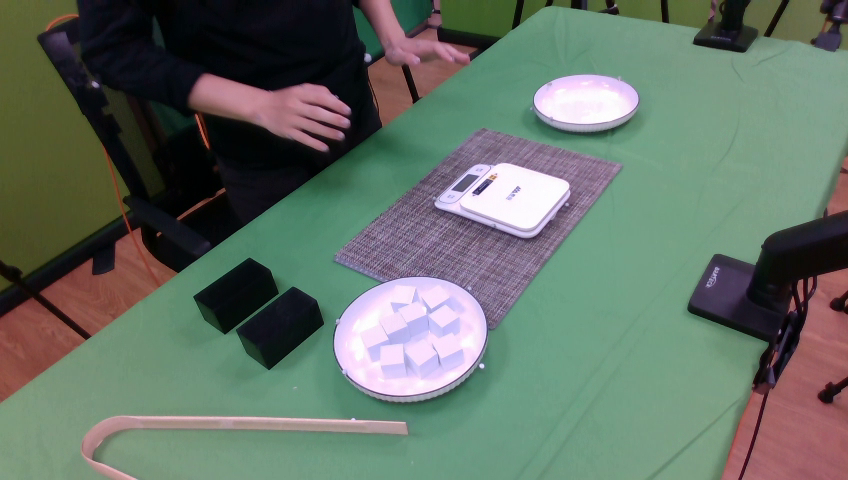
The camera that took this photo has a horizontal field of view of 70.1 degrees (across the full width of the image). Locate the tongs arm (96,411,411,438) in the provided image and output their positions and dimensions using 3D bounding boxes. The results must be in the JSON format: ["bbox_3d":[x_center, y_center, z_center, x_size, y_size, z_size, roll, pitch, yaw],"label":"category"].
[{"bbox_3d":[-0.208,0.226,0.731,0.387,0.028,0.028,-1,44,7],"label":"tongs arm"}]

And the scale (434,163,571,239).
[{"bbox_3d":[0.132,-0.075,1.025,0.199,0.032,0.149,22,48,30],"label":"scale"}]

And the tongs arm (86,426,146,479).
[{"bbox_3d":[-0.232,0.280,0.665,0.383,0.026,0.051,9,43,20],"label":"tongs arm"}]

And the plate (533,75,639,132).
[{"bbox_3d":[0.327,-0.272,1.228,0.209,0.038,0.208,-4,40,4],"label":"plate"}]

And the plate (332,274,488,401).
[{"bbox_3d":[-0.017,0.130,0.808,0.207,0.039,0.206,-4,41,4],"label":"plate"}]
